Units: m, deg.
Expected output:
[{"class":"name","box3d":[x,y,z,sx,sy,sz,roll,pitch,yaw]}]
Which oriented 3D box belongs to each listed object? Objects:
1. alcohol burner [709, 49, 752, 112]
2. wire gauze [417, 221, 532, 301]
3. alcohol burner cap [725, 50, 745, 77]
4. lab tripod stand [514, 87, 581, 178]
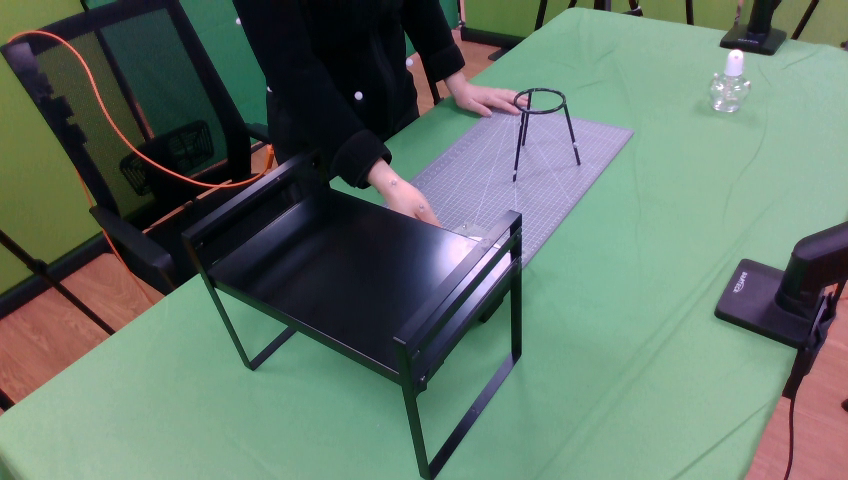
[{"class":"alcohol burner","box3d":[0.600,-0.313,1.178,0.078,0.119,0.077,-5,40,5]},{"class":"wire gauze","box3d":[0.073,0.022,0.869,0.124,0.011,0.122,32,50,30]},{"class":"alcohol burner cap","box3d":[0.596,-0.340,1.154,0.034,0.048,0.033,-8,44,8]},{"class":"lab tripod stand","box3d":[0.211,-0.196,1.083,0.148,0.132,0.147,-3,39,3]}]
